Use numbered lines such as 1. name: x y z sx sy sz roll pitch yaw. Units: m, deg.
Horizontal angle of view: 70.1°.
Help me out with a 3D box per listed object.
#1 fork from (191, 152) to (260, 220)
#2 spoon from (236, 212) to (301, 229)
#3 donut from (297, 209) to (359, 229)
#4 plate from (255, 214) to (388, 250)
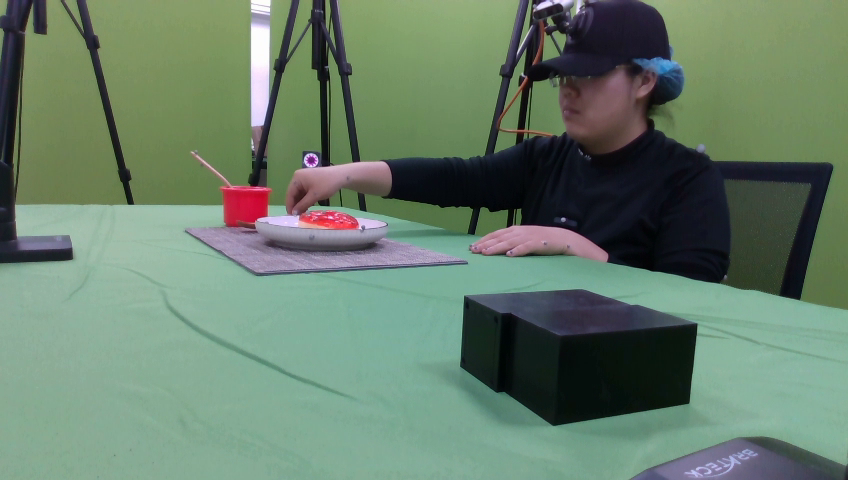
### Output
1. fork: -0.386 -0.103 1.191 0.207 0.018 0.028 46 15 5
2. spoon: -0.244 -0.041 1.104 0.195 0.021 0.041 -12 11 -29
3. donut: -0.151 -0.023 0.955 0.099 0.048 0.099 6 7 0
4. plate: -0.161 -0.013 0.961 0.209 0.038 0.209 2 7 0
